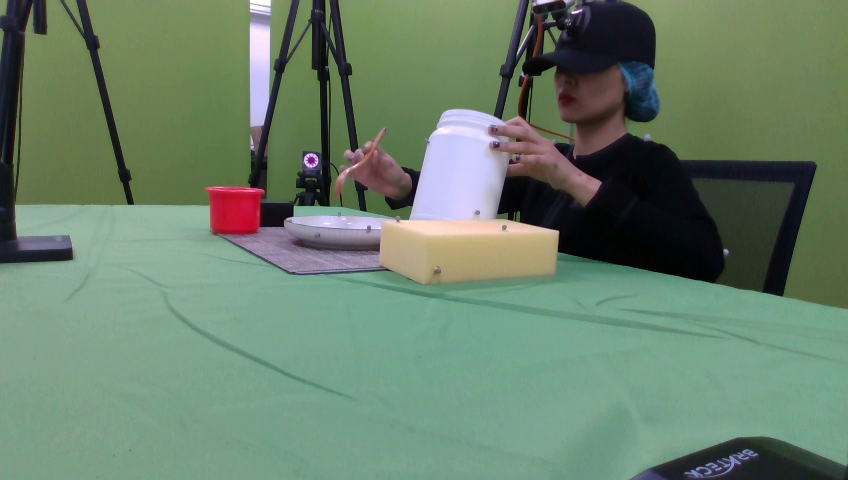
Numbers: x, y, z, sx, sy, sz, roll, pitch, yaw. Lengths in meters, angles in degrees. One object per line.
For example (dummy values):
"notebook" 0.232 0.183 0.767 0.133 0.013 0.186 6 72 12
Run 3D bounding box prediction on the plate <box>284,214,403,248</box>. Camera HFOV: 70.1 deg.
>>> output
"plate" -0.122 -0.015 0.984 0.209 0.038 0.209 2 7 0

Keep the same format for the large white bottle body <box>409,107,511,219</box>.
"large white bottle body" 0.059 -0.098 0.924 0.130 0.184 0.130 13 -6 2

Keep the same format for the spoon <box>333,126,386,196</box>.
"spoon" -0.108 -0.140 1.039 0.021 0.041 0.194 36 48 -3

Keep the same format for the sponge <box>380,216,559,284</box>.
"sponge" 0.059 0.008 0.786 0.208 0.061 0.117 -3 11 -32

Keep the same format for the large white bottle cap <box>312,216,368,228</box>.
"large white bottle cap" -0.171 -0.038 1.234 0.115 0.018 0.115 2 5 0
